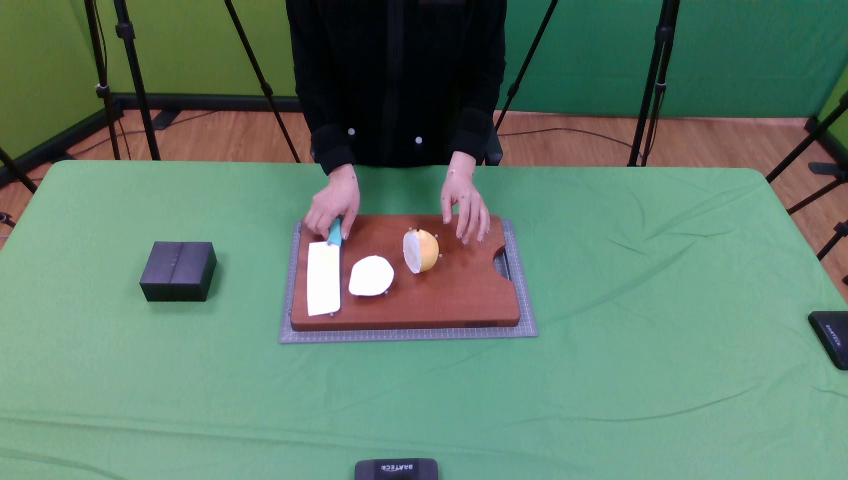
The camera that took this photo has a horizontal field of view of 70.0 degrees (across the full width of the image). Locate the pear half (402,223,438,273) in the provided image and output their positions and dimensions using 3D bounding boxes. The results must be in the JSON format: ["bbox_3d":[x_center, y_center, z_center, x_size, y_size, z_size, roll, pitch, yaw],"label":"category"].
[{"bbox_3d":[-0.003,0.005,1.093,0.056,0.110,0.076,-24,56,-24],"label":"pear half"}]

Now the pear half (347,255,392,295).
[{"bbox_3d":[-0.099,0.069,1.075,0.088,0.031,0.070,-39,75,-18],"label":"pear half"}]

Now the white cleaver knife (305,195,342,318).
[{"bbox_3d":[-0.186,0.020,1.120,0.066,0.021,0.284,-3,49,-3],"label":"white cleaver knife"}]
